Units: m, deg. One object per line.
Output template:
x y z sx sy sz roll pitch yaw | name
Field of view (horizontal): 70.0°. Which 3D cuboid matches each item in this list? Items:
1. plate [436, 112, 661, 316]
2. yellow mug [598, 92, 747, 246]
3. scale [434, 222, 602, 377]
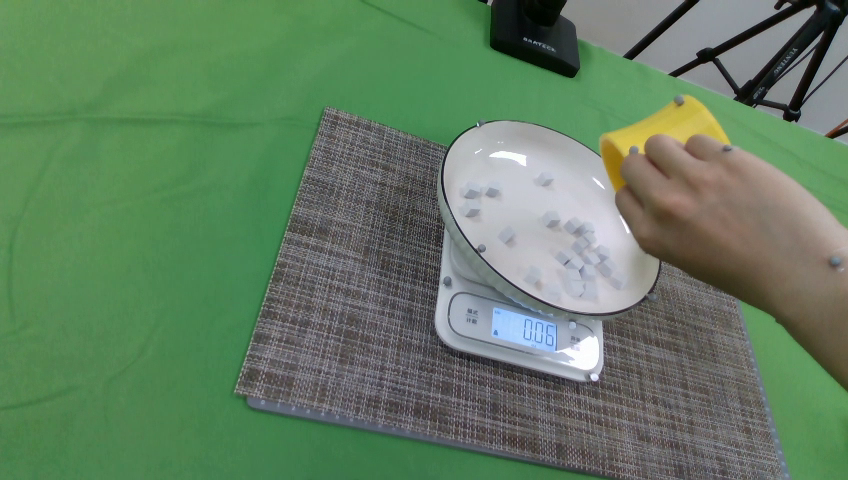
0.105 -0.023 0.524 0.210 0.038 0.207 12 51 -16 | plate
0.183 -0.052 0.443 0.064 0.130 0.100 -26 94 6 | yellow mug
0.087 0.013 0.533 0.149 0.032 0.199 17 50 -12 | scale
